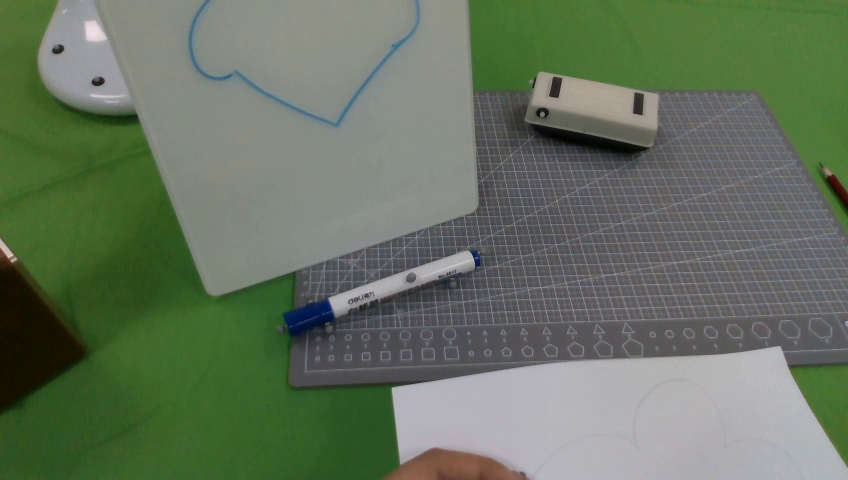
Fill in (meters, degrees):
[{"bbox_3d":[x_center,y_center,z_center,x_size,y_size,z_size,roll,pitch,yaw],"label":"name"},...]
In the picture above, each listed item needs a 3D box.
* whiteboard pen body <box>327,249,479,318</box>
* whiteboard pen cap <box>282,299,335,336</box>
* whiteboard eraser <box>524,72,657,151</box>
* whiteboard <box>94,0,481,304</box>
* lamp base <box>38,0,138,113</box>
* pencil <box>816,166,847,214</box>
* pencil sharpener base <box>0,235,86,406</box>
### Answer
[{"bbox_3d":[-0.025,0.034,0.428,0.141,0.017,0.017,-18,56,-17],"label":"whiteboard pen body"},{"bbox_3d":[-0.078,0.052,0.411,0.033,0.018,0.018,-20,56,-17],"label":"whiteboard pen cap"},{"bbox_3d":[0.150,-0.114,0.544,0.112,0.042,0.055,14,54,6],"label":"whiteboard eraser"},{"bbox_3d":[-0.093,-0.146,0.422,0.217,0.308,0.142,-18,37,-17],"label":"whiteboard"},{"bbox_3d":[-0.277,-0.227,0.510,0.178,0.182,0.160,31,56,21],"label":"lamp base"},{"bbox_3d":[0.374,0.006,0.497,0.012,0.012,0.192,-4,51,-7],"label":"pencil"},{"bbox_3d":[-0.262,0.045,0.350,0.061,0.108,0.076,39,59,22],"label":"pencil sharpener base"}]
